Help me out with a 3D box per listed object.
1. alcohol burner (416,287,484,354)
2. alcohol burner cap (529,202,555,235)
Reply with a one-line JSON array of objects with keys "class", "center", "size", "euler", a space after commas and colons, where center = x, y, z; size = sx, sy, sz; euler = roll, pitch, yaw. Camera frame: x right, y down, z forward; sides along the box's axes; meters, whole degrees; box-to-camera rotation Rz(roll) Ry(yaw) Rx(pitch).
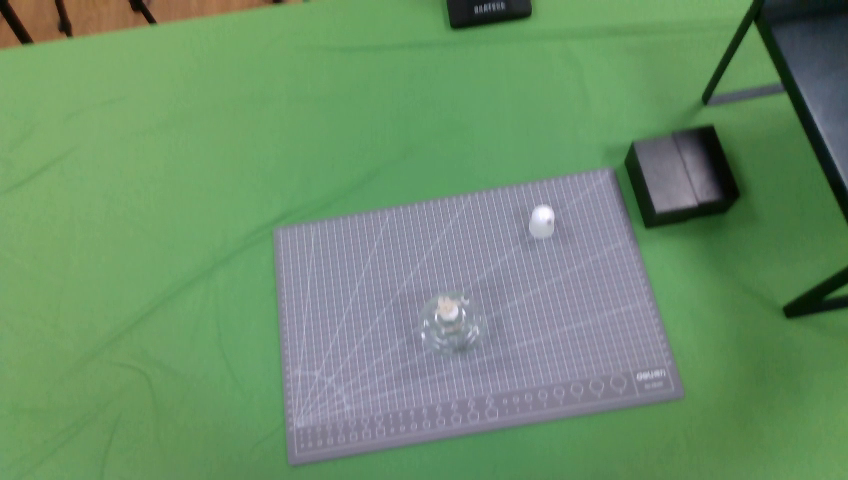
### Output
[{"class": "alcohol burner", "center": [0.028, 0.086, 0.671], "size": [0.078, 0.120, 0.077], "euler": [-2, 70, 6]}, {"class": "alcohol burner cap", "center": [0.146, -0.029, 0.742], "size": [0.034, 0.048, 0.033], "euler": [-2, 69, 6]}]
